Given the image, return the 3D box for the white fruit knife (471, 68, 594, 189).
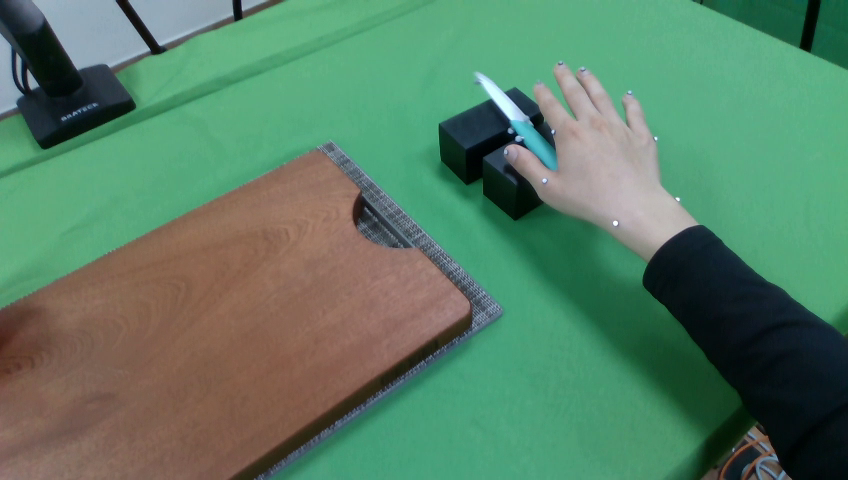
[{"bbox_3d":[0.097,-0.117,0.599,0.027,0.016,0.205,-11,48,-26],"label":"white fruit knife"}]
